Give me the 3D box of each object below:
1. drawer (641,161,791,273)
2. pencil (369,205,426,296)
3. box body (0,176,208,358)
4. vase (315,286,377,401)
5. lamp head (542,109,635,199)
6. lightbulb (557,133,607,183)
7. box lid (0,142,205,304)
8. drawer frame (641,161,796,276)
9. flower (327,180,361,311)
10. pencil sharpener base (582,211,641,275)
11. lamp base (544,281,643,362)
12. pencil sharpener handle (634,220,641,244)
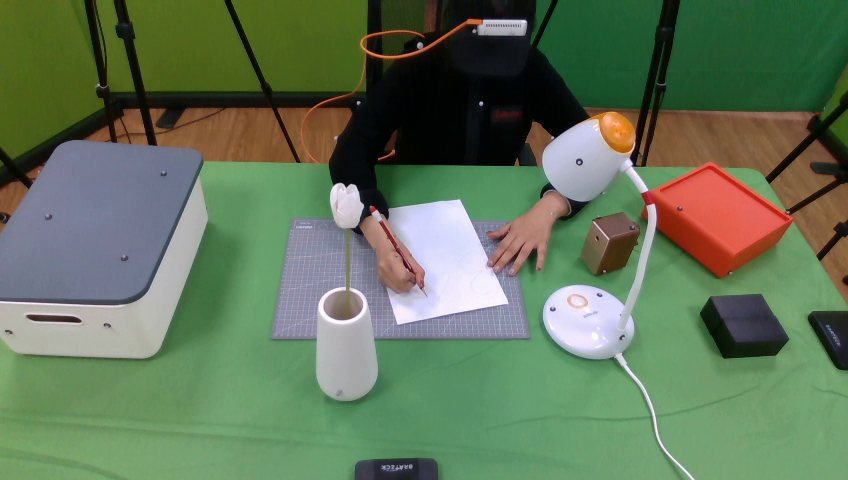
[{"bbox_3d":[0.596,-0.052,1.245,0.194,0.073,0.210,-23,52,-25],"label":"drawer"},{"bbox_3d":[-0.045,0.022,1.085,0.012,0.012,0.194,-39,104,-33],"label":"pencil"},{"bbox_3d":[-0.546,0.017,1.045,0.254,0.161,0.361,2,46,-2],"label":"box body"},{"bbox_3d":[-0.119,0.159,0.911,0.098,0.201,0.097,2,47,-2],"label":"vase"},{"bbox_3d":[0.253,-0.131,0.893,0.113,0.123,0.112,10,66,-24],"label":"lamp head"},{"bbox_3d":[0.243,-0.127,0.917,0.059,0.108,0.059,6,67,-14],"label":"lightbulb"},{"bbox_3d":[-0.534,-0.044,0.995,0.263,0.015,0.369,3,45,-3],"label":"box lid"},{"bbox_3d":[0.599,-0.051,1.244,0.202,0.083,0.212,-24,53,-25],"label":"drawer frame"},{"bbox_3d":[-0.111,0.086,0.867,0.044,0.363,0.038,22,33,35],"label":"flower"},{"bbox_3d":[0.357,0.005,1.156,0.077,0.107,0.061,-15,48,-17],"label":"pencil sharpener base"},{"bbox_3d":[0.304,0.095,1.014,0.161,0.181,0.178,-24,54,-24],"label":"lamp base"},{"bbox_3d":[0.405,-0.015,1.162,0.031,0.068,0.035,-15,46,-17],"label":"pencil sharpener handle"}]
